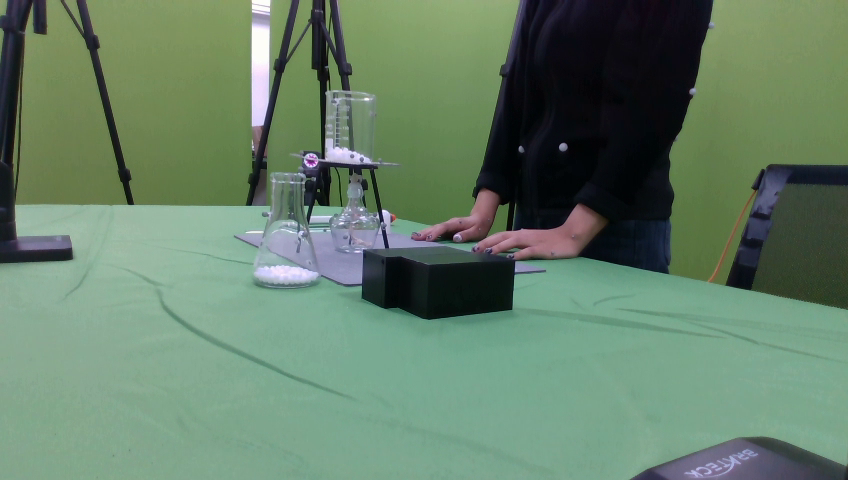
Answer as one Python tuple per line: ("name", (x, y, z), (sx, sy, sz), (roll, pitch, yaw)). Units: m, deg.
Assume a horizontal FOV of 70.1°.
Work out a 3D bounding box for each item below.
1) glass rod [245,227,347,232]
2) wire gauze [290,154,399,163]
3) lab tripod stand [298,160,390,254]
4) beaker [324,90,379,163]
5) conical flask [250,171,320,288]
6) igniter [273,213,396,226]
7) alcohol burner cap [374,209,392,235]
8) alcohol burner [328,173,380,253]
("glass rod", (-0.236, -0.021, 1.140), (0.201, 0.008, 0.008), (-2, 8, -33))
("wire gauze", (-0.112, -0.114, 0.883), (0.124, 0.011, 0.122), (5, 5, 28))
("lab tripod stand", (-0.111, -0.050, 0.893), (0.148, 0.131, 0.148), (4, 6, 0))
("beaker", (-0.110, -0.162, 0.879), (0.083, 0.100, 0.074), (8, 7, 36))
("conical flask", (-0.150, -0.013, 0.658), (0.075, 0.122, 0.075), (2, 7, 0))
("igniter", (-0.179, -0.044, 1.258), (0.278, 0.025, 0.057), (-3, -1, -39))
("alcohol burner cap", (-0.078, -0.035, 1.148), (0.034, 0.048, 0.034), (2, 7, 0))
("alcohol burner", (-0.104, -0.041, 0.902), (0.078, 0.119, 0.078), (0, 7, 0))
